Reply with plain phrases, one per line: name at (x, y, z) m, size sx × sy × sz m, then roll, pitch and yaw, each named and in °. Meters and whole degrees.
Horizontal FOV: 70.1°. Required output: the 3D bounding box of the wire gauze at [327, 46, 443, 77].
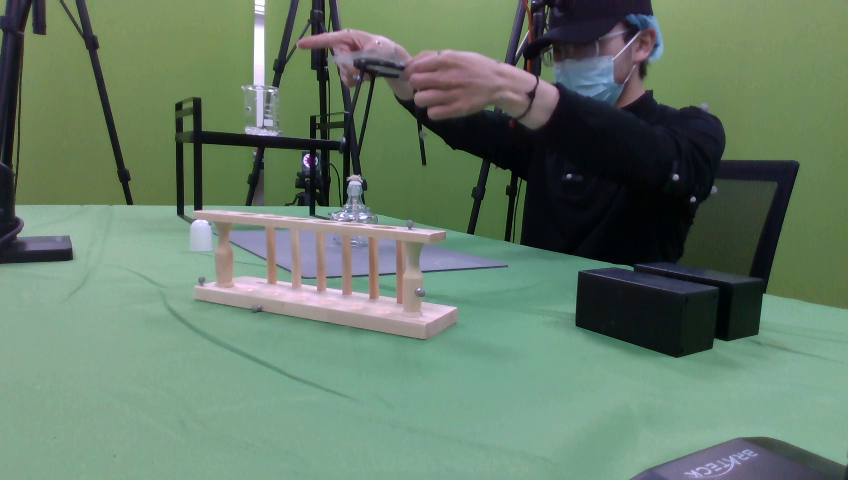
wire gauze at (-0.056, -0.250, 0.857) m, size 0.126 × 0.011 × 0.121 m, roll 7°, pitch 6°, yaw -38°

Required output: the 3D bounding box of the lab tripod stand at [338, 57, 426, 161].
lab tripod stand at (-0.062, -0.186, 0.867) m, size 0.148 × 0.131 × 0.148 m, roll 8°, pitch 5°, yaw 0°

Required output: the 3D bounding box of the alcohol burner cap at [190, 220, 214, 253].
alcohol burner cap at (-0.321, -0.006, 0.875) m, size 0.034 × 0.048 × 0.034 m, roll 4°, pitch 8°, yaw 0°

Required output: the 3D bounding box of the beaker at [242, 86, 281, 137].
beaker at (-0.338, -0.265, 1.253) m, size 0.073 × 0.100 × 0.084 m, roll 8°, pitch 10°, yaw 38°

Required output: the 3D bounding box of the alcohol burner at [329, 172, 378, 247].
alcohol burner at (-0.113, -0.049, 0.972) m, size 0.078 × 0.119 × 0.078 m, roll 1°, pitch 9°, yaw 0°

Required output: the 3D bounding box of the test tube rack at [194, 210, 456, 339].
test tube rack at (-0.093, 0.023, 0.545) m, size 0.241 × 0.085 × 0.067 m, roll 6°, pitch 8°, yaw 25°
